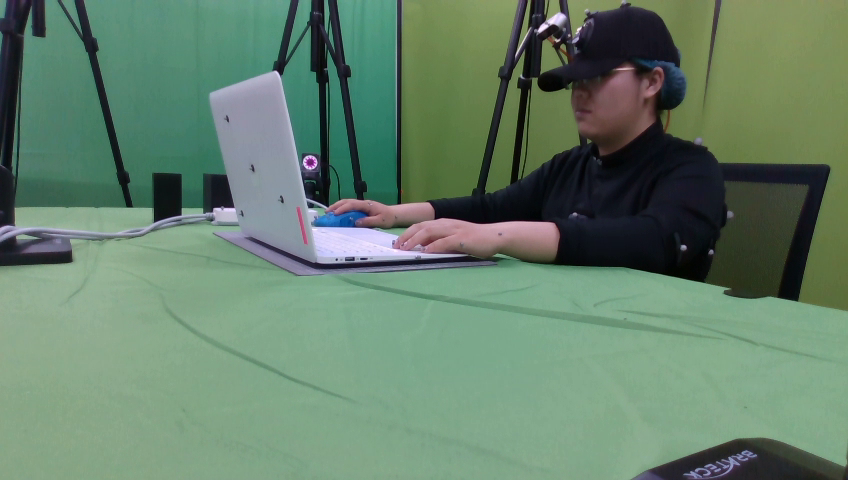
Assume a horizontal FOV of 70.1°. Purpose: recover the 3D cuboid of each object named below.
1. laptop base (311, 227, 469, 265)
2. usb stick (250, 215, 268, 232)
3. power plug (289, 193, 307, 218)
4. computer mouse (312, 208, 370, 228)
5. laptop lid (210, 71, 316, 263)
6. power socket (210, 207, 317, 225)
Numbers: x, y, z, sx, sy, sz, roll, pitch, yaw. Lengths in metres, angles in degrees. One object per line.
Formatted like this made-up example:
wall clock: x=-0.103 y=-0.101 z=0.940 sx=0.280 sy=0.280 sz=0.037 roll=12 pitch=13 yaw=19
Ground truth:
laptop base: x=-0.123 y=0.007 z=0.952 sx=0.237 sy=0.023 sz=0.352 roll=2 pitch=6 yaw=-32
usb stick: x=-0.290 y=-0.028 z=1.070 sx=0.021 sy=0.027 sz=0.059 roll=-1 pitch=11 yaw=-30
power plug: x=-0.281 y=-0.076 z=1.340 sx=0.035 sy=0.052 sz=0.072 roll=3 pitch=6 yaw=-17
computer mouse: x=-0.173 y=-0.043 z=1.266 sx=0.118 sy=0.041 sz=0.062 roll=-8 pitch=14 yaw=-33
laptop lid: x=-0.241 y=-0.104 z=0.861 sx=0.013 sy=0.241 sz=0.355 roll=-16 pitch=17 yaw=-29
power socket: x=-0.334 y=-0.051 z=1.281 sx=0.228 sy=0.032 sz=0.072 roll=-1 pitch=8 yaw=-28
